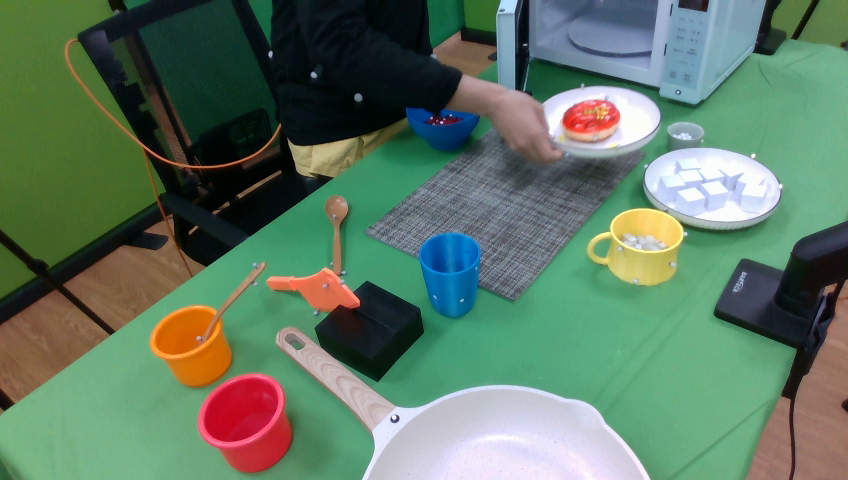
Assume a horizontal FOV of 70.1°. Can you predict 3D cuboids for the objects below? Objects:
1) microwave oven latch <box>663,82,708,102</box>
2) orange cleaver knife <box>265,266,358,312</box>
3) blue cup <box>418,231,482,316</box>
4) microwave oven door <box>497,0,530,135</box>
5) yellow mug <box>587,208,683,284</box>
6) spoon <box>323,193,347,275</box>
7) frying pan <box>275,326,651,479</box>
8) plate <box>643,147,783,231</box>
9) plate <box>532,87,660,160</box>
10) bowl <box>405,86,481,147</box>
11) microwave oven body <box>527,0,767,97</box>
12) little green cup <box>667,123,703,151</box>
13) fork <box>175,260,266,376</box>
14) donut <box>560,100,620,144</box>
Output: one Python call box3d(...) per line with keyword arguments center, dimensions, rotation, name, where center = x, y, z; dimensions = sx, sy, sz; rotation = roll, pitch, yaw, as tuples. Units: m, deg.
box3d(center=(0.518, -0.298, 1.202), dimensions=(0.078, 0.029, 0.030), rotation=(30, 54, 36), name="microwave oven latch")
box3d(center=(-0.164, 0.073, 0.864), dimensions=(0.210, 0.077, 0.012), rotation=(-6, 30, 50), name="orange cleaver knife")
box3d(center=(0.040, 0.053, 0.843), dimensions=(0.092, 0.100, 0.092), rotation=(-4, 43, 4), name="blue cup")
box3d(center=(0.184, -0.411, 1.225), dimensions=(0.039, 0.245, 0.355), rotation=(2, 42, 12), name="microwave oven door")
box3d(center=(0.305, 0.009, 0.884), dimensions=(0.131, 0.064, 0.099), rotation=(-4, 41, 5), name="yellow mug")
box3d(center=(-0.148, -0.014, 1.008), dimensions=(0.042, 0.022, 0.192), rotation=(0, 40, -8), name="spoon")
box3d(center=(0.004, 0.229, 0.641), dimensions=(0.484, 0.103, 0.308), rotation=(34, 54, 28), name="frying pan")
box3d(center=(0.464, -0.080, 0.986), dimensions=(0.207, 0.039, 0.206), rotation=(-4, 41, 4), name="plate")
box3d(center=(0.288, -0.193, 1.023), dimensions=(0.209, 0.038, 0.208), rotation=(-5, 41, 5), name="plate")
box3d(center=(0.041, -0.236, 1.197), dimensions=(0.151, 0.077, 0.150), rotation=(-4, 40, 3), name="bowl")
box3d(center=(0.473, -0.516, 1.313), dimensions=(0.438, 0.261, 0.327), rotation=(26, 51, 34), name="microwave oven body")
box3d(center=(0.472, -0.183, 1.102), dimensions=(0.061, 0.039, 0.061), rotation=(-5, 38, 4), name="little green cup")
box3d(center=(-0.268, 0.103, 0.792), dimensions=(0.207, 0.019, 0.028), rotation=(-51, 40, 16), name="fork")
box3d(center=(0.277, -0.200, 1.016), dimensions=(0.099, 0.048, 0.098), rotation=(-8, 40, 7), name="donut")
